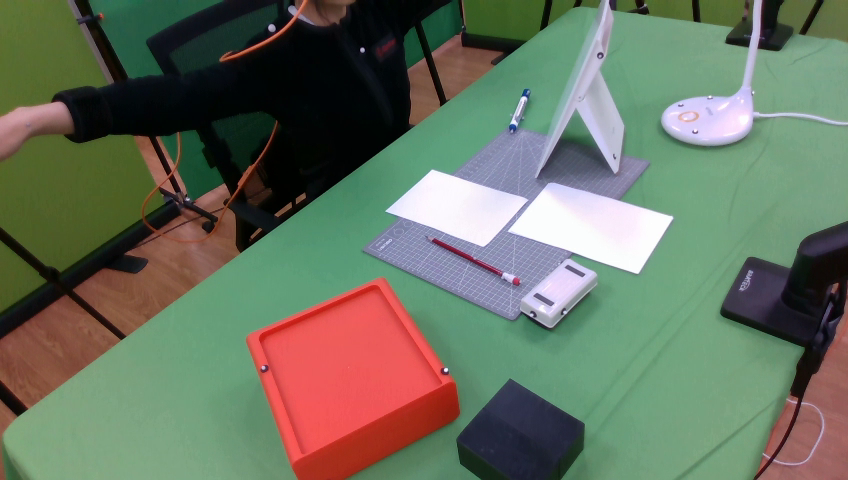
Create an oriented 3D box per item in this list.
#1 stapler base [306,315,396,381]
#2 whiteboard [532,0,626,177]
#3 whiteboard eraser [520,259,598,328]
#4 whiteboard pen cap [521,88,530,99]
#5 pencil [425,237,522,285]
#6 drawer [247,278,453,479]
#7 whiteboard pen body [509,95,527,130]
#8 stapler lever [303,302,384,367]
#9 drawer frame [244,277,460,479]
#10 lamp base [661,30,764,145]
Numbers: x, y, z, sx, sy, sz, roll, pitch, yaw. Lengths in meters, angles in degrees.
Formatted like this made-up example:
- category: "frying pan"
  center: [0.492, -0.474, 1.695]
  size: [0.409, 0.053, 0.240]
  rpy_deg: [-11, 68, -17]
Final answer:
- category: "stapler base"
  center: [-0.101, 0.139, 0.819]
  size: [0.131, 0.024, 0.041]
  rpy_deg: [-31, 37, -13]
- category: "whiteboard"
  center: [0.321, -0.258, 1.050]
  size: [0.144, 0.306, 0.217]
  rpy_deg: [21, 45, 5]
- category: "whiteboard eraser"
  center: [0.189, 0.076, 0.843]
  size: [0.055, 0.042, 0.113]
  rpy_deg: [29, 53, 37]
- category: "whiteboard pen cap"
  center: [0.218, -0.312, 1.301]
  size: [0.018, 0.018, 0.033]
  rpy_deg: [7, 46, 18]
- category: "pencil"
  center: [0.071, 0.029, 0.941]
  size: [0.192, 0.012, 0.012]
  rpy_deg: [26, 51, 37]
- category: "drawer"
  center: [-0.096, 0.167, 0.758]
  size: [0.195, 0.073, 0.210]
  rpy_deg: [-22, 43, -16]
- category: "whiteboard pen body"
  center: [0.199, -0.273, 1.261]
  size: [0.017, 0.017, 0.140]
  rpy_deg: [8, 44, 19]
- category: "stapler lever"
  center: [-0.108, 0.124, 0.806]
  size: [0.118, 0.040, 0.026]
  rpy_deg: [-27, 36, -15]
- category: "drawer frame"
  center: [-0.093, 0.167, 0.755]
  size: [0.202, 0.083, 0.211]
  rpy_deg: [-23, 43, -17]
- category: "lamp base"
  center: [0.535, -0.287, 1.096]
  size: [0.179, 0.181, 0.159]
  rpy_deg: [-10, 40, -4]
